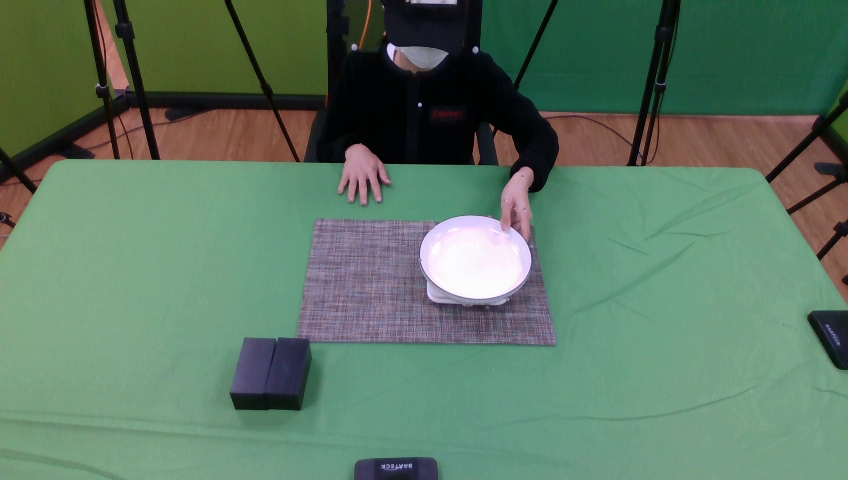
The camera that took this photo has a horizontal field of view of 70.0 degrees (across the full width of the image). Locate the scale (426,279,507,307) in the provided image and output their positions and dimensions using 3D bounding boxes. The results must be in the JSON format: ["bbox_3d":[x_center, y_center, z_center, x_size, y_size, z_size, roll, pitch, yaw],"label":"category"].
[{"bbox_3d":[0.078,0.043,1.152,0.149,0.032,0.199,3,45,-2],"label":"scale"}]

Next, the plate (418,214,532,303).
[{"bbox_3d":[0.092,0.036,1.110,0.208,0.039,0.206,1,47,-1],"label":"plate"}]
